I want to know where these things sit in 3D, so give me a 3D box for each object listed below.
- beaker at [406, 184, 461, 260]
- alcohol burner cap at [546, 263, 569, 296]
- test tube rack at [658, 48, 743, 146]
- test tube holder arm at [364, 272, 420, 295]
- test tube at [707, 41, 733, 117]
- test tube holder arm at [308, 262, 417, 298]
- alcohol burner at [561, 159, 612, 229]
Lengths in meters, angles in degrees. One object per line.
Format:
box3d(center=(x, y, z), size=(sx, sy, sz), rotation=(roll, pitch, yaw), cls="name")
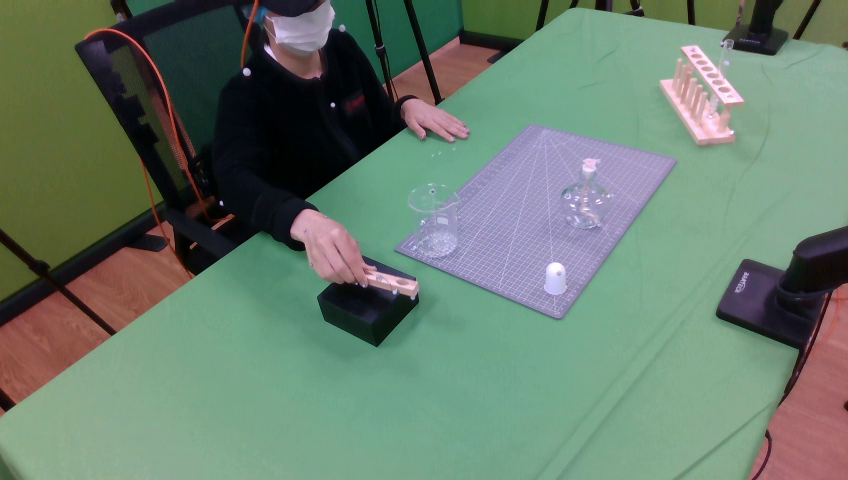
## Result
box3d(center=(0.019, -0.026, 0.939), size=(0.084, 0.101, 0.074), rotation=(1, 41, 9), cls="beaker")
box3d(center=(0.191, 0.053, 0.862), size=(0.034, 0.048, 0.033), rotation=(-5, 40, 4), cls="alcohol burner cap")
box3d(center=(0.532, -0.284, 1.180), size=(0.067, 0.085, 0.241), rotation=(-5, 40, 4), cls="test tube rack")
box3d(center=(-0.045, 0.058, 0.817), size=(0.087, 0.015, 0.010), rotation=(11, 37, 27), cls="test tube holder arm")
box3d(center=(0.542, -0.293, 1.111), size=(0.017, 0.151, 0.017), rotation=(-4, 43, 5), cls="test tube")
box3d(center=(-0.088, 0.054, 0.832), size=(0.177, 0.015, 0.013), rotation=(10, 37, 26), cls="test tube holder arm")
box3d(center=(0.257, -0.077, 0.951), size=(0.078, 0.119, 0.077), rotation=(-3, 40, 3), cls="alcohol burner")
